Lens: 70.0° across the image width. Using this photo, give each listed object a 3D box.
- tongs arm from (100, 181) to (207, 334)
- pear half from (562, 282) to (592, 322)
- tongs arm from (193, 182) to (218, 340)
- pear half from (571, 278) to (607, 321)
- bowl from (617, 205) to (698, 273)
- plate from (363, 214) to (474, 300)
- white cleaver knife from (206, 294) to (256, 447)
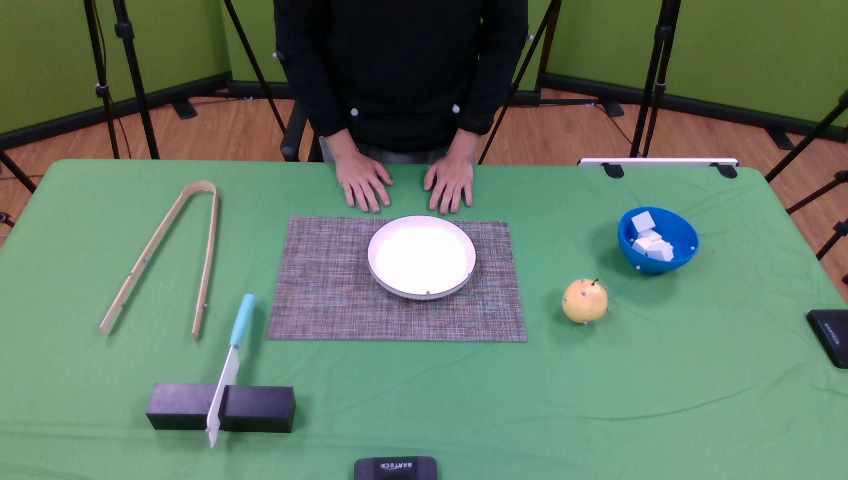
[{"bbox_3d":[-0.494,0.018,1.132,0.051,0.026,0.382,7,45,0],"label":"tongs arm"},{"bbox_3d":[0.264,0.111,1.065,0.031,0.088,0.070,-20,61,-21],"label":"pear half"},{"bbox_3d":[-0.413,0.024,1.140,0.028,0.028,0.385,-5,47,-7],"label":"tongs arm"},{"bbox_3d":[0.297,0.094,1.069,0.056,0.110,0.076,-21,62,-21],"label":"pear half"},{"bbox_3d":[0.442,0.011,1.181,0.151,0.077,0.150,2,46,-2],"label":"bowl"},{"bbox_3d":[-0.010,0.036,1.146,0.208,0.039,0.206,3,46,-2],"label":"plate"},{"bbox_3d":[-0.305,0.191,0.956,0.021,0.066,0.284,6,36,-4],"label":"white cleaver knife"}]
